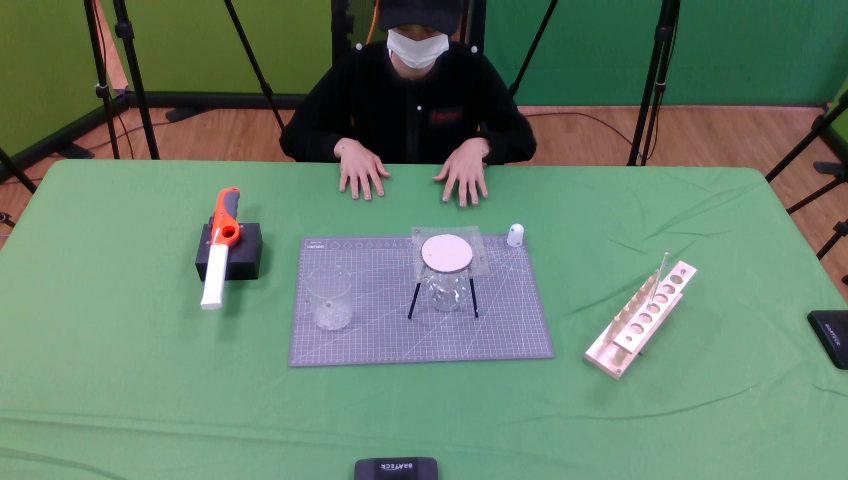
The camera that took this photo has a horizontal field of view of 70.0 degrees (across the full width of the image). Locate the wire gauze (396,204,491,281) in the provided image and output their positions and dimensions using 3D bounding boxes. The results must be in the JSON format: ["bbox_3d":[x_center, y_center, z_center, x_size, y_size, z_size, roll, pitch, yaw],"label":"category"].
[{"bbox_3d":[0.032,0.004,0.999,0.125,0.011,0.120,-22,54,-14],"label":"wire gauze"}]

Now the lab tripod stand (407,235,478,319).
[{"bbox_3d":[0.032,0.065,1.057,0.148,0.132,0.147,1,45,-1],"label":"lab tripod stand"}]

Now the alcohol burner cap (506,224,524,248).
[{"bbox_3d":[0.184,-0.010,1.206,0.034,0.048,0.033,1,46,-1],"label":"alcohol burner cap"}]

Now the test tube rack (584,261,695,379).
[{"bbox_3d":[0.380,0.127,1.062,0.066,0.085,0.242,34,53,26],"label":"test tube rack"}]

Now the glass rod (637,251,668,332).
[{"bbox_3d":[0.378,0.090,1.005,0.008,0.201,0.008,-1,44,1],"label":"glass rod"}]

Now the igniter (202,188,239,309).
[{"bbox_3d":[-0.367,0.006,1.095,0.057,0.025,0.274,-2,49,-7],"label":"igniter"}]

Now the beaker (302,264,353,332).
[{"bbox_3d":[-0.162,0.101,1.030,0.084,0.101,0.073,4,46,0],"label":"beaker"}]

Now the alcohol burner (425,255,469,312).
[{"bbox_3d":[0.041,0.071,1.065,0.078,0.120,0.077,1,46,-1],"label":"alcohol burner"}]
